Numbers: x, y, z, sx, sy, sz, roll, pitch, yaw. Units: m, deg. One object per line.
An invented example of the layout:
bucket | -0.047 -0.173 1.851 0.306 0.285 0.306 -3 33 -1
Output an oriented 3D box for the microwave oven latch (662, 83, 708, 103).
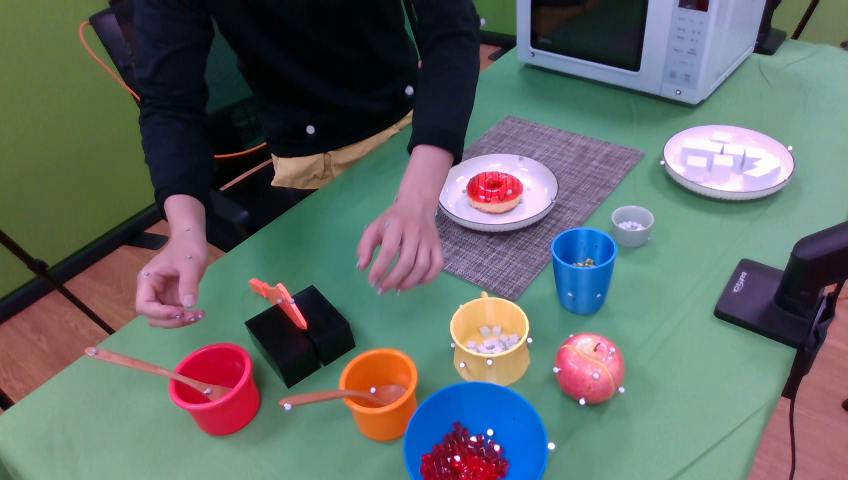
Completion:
microwave oven latch | 0.518 -0.297 1.204 0.078 0.029 0.030 29 53 36

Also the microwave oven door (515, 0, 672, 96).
microwave oven door | 0.344 -0.454 1.259 0.353 0.245 0.039 26 51 33

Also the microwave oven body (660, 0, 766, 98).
microwave oven body | 0.473 -0.513 1.317 0.438 0.261 0.327 26 51 34

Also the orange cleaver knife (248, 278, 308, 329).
orange cleaver knife | -0.209 0.088 0.856 0.012 0.077 0.210 -35 17 -23

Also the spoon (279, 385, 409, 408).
spoon | -0.085 0.177 0.681 0.041 0.195 0.021 34 99 38

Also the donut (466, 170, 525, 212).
donut | 0.120 -0.084 1.019 0.099 0.048 0.098 -3 38 3

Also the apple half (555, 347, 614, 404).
apple half | 0.181 0.168 0.708 0.080 0.081 0.033 29 53 35

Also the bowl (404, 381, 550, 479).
bowl | 0.058 0.235 0.645 0.151 0.077 0.150 -4 39 4

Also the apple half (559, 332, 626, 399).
apple half | 0.209 0.147 0.730 0.080 0.075 0.053 26 48 38

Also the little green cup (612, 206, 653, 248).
little green cup | 0.321 -0.019 0.936 0.061 0.039 0.061 -4 40 4

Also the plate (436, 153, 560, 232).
plate | 0.125 -0.078 1.029 0.209 0.038 0.208 -4 40 4

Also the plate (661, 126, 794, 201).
plate | 0.513 -0.127 1.035 0.207 0.039 0.206 -4 40 4

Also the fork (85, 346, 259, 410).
fork | -0.298 0.166 0.728 0.209 0.018 0.028 28 47 -24

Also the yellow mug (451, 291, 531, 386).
yellow mug | 0.086 0.120 0.786 0.100 0.064 0.130 -7 39 2

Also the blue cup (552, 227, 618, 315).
blue cup | 0.218 0.047 0.825 0.092 0.100 0.092 -6 39 5
